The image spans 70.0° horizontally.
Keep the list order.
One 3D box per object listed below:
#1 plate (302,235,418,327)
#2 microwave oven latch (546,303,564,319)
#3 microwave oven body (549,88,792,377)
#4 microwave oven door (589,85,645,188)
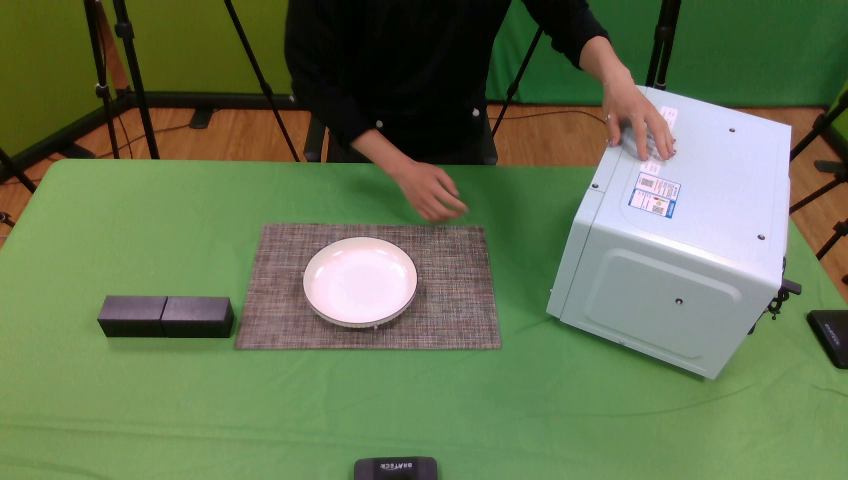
[{"bbox_3d":[-0.114,0.077,1.098,0.208,0.039,0.206,2,46,-2],"label":"plate"},{"bbox_3d":[0.242,0.102,1.081,0.030,0.029,0.079,21,48,17],"label":"microwave oven latch"},{"bbox_3d":[0.456,-0.028,1.088,0.325,0.261,0.440,20,47,16],"label":"microwave oven body"},{"bbox_3d":[0.342,-0.107,1.149,0.039,0.245,0.354,20,48,15],"label":"microwave oven door"}]
